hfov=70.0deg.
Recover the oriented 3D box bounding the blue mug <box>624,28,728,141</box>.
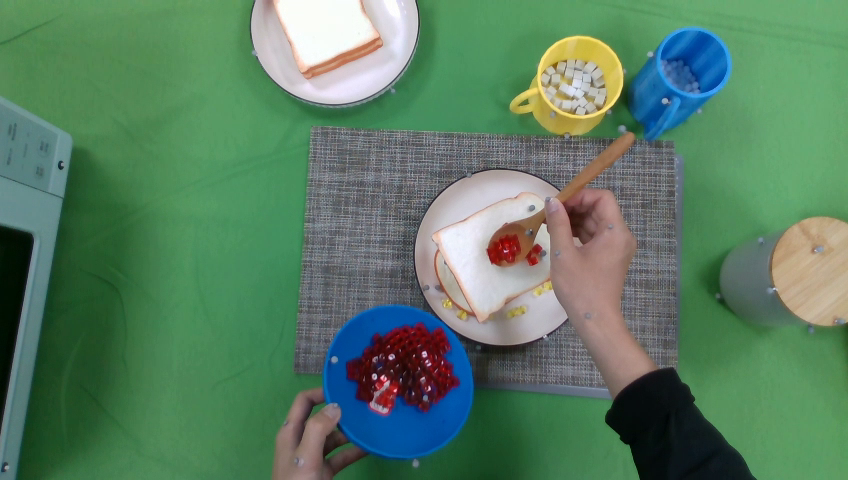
[{"bbox_3d":[0.283,-0.169,0.705,0.082,0.106,0.116,25,83,4],"label":"blue mug"}]

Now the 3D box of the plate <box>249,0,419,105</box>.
[{"bbox_3d":[-0.109,-0.264,0.753,0.208,0.039,0.207,0,82,0],"label":"plate"}]

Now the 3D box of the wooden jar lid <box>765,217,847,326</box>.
[{"bbox_3d":[0.390,0.031,0.603,0.108,0.021,0.108,0,85,-1],"label":"wooden jar lid"}]

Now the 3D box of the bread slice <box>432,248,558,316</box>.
[{"bbox_3d":[0.078,0.028,0.712,0.131,0.019,0.104,-29,82,-4],"label":"bread slice"}]

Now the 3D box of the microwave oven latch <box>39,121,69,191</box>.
[{"bbox_3d":[-0.443,-0.100,0.714,0.030,0.029,0.079,9,83,1],"label":"microwave oven latch"}]

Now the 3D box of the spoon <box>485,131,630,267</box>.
[{"bbox_3d":[0.122,-0.034,0.575,0.022,0.194,0.041,-23,72,-45],"label":"spoon"}]

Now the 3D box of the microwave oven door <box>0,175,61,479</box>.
[{"bbox_3d":[-0.468,0.102,0.585,0.039,0.244,0.354,5,82,2],"label":"microwave oven door"}]

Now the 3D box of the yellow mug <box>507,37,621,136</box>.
[{"bbox_3d":[0.163,-0.177,0.726,0.131,0.064,0.099,-17,82,-1],"label":"yellow mug"}]

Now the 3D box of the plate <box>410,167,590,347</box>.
[{"bbox_3d":[0.088,0.019,0.710,0.209,0.038,0.208,0,82,0],"label":"plate"}]

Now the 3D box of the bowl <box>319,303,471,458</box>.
[{"bbox_3d":[-0.037,0.147,0.607,0.152,0.077,0.150,11,59,-18],"label":"bowl"}]

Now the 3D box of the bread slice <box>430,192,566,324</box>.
[{"bbox_3d":[0.085,0.010,0.653,0.134,0.018,0.107,-32,89,-10],"label":"bread slice"}]

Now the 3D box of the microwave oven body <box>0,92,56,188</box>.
[{"bbox_3d":[-0.609,0.047,0.598,0.326,0.261,0.440,5,83,1],"label":"microwave oven body"}]

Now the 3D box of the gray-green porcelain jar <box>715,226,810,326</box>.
[{"bbox_3d":[0.392,0.042,0.665,0.106,0.127,0.105,0,82,0],"label":"gray-green porcelain jar"}]
